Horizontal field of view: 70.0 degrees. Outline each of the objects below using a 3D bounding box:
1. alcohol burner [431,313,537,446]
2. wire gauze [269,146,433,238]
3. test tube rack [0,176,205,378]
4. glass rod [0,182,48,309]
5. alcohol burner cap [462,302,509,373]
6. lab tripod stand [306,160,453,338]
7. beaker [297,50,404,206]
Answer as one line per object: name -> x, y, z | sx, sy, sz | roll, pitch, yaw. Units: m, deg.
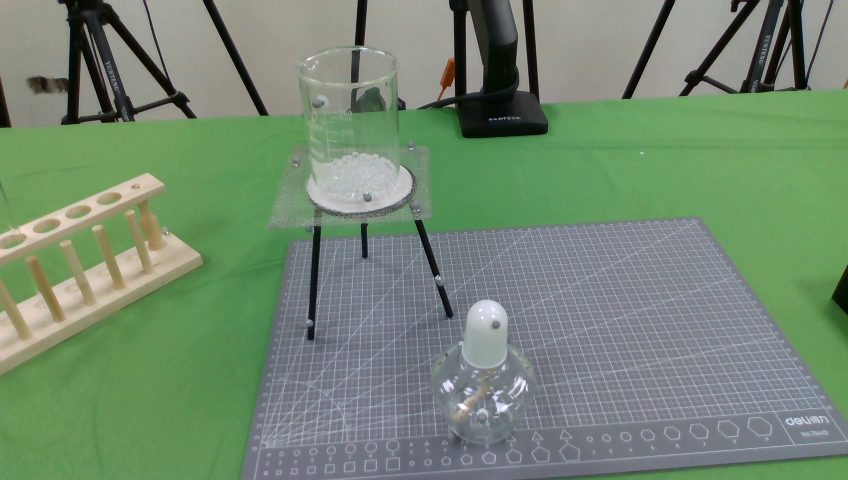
alcohol burner -> 0.043, 0.092, 0.433 | 0.078, 0.120, 0.077 | 0, 39, 1
wire gauze -> -0.055, -0.044, 0.491 | 0.121, 0.011, 0.124 | -2, 39, 0
test tube rack -> -0.333, 0.036, 0.549 | 0.066, 0.086, 0.242 | 28, 46, 34
glass rod -> -0.356, -0.023, 0.518 | 0.008, 0.201, 0.008 | 0, 30, 1
alcohol burner cap -> 0.043, 0.063, 0.411 | 0.034, 0.048, 0.033 | 1, 38, -1
lab tripod stand -> -0.045, 0.007, 0.533 | 0.148, 0.132, 0.147 | 0, 36, 0
beaker -> -0.056, -0.084, 0.463 | 0.083, 0.101, 0.074 | 22, 42, 26
